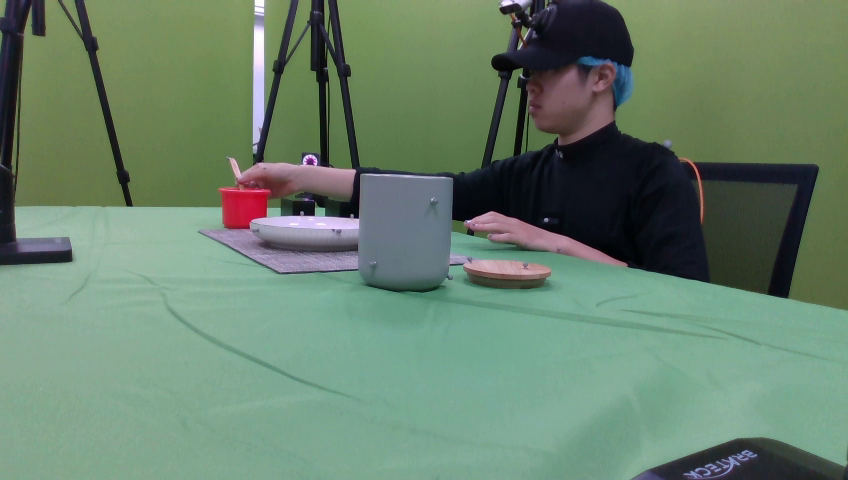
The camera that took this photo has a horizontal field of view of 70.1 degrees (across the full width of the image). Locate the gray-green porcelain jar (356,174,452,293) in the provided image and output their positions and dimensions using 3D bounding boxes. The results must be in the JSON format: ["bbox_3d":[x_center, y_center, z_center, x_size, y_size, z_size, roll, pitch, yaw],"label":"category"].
[{"bbox_3d":[-0.023,-0.009,0.682,0.106,0.126,0.106,2,7,0],"label":"gray-green porcelain jar"}]

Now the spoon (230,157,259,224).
[{"bbox_3d":[-0.366,-0.102,1.215,0.042,0.021,0.193,-1,52,-31],"label":"spoon"}]

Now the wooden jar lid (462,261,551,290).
[{"bbox_3d":[0.100,0.043,0.742,0.108,0.020,0.108,2,6,0],"label":"wooden jar lid"}]

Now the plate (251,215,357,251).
[{"bbox_3d":[-0.170,-0.012,0.971,0.208,0.039,0.207,2,7,0],"label":"plate"}]
